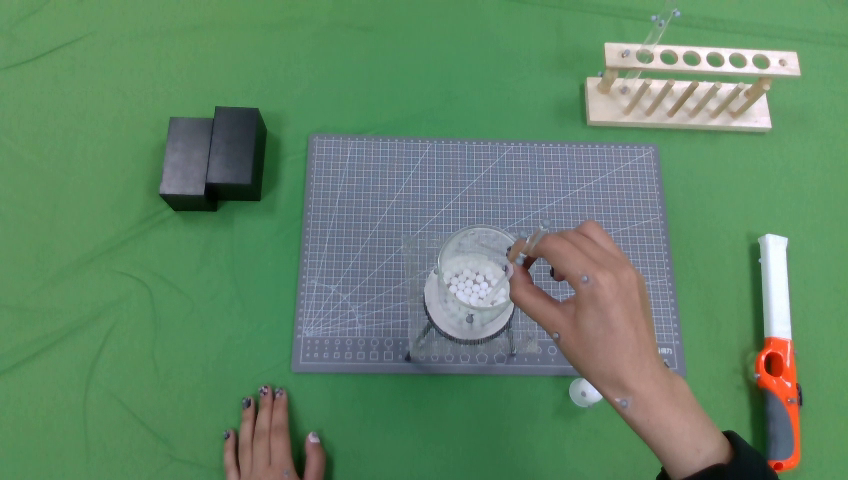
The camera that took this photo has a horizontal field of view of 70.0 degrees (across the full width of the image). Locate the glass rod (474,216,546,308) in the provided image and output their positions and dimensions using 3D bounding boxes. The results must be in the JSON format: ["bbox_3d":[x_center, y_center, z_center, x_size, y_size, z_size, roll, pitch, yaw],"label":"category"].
[{"bbox_3d":[0.061,0.023,0.473,0.008,0.200,0.008,3,68,-7],"label":"glass rod"}]

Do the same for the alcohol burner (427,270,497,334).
[{"bbox_3d":[0.043,0.065,0.654,0.078,0.119,0.077,2,70,-4],"label":"alcohol burner"}]

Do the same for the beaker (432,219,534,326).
[{"bbox_3d":[0.047,0.033,0.534,0.084,0.101,0.073,-3,71,-4],"label":"beaker"}]

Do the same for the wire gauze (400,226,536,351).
[{"bbox_3d":[0.041,0.045,0.580,0.125,0.011,0.120,-2,70,-2],"label":"wire gauze"}]

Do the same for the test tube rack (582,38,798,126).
[{"bbox_3d":[0.335,-0.199,0.773,0.242,0.085,0.066,1,71,-2],"label":"test tube rack"}]

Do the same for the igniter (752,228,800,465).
[{"bbox_3d":[0.407,0.118,0.705,0.057,0.025,0.275,11,72,-10],"label":"igniter"}]

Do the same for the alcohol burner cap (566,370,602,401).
[{"bbox_3d":[0.180,0.160,0.672,0.034,0.048,0.033,1,70,-2],"label":"alcohol burner cap"}]

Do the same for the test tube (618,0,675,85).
[{"bbox_3d":[0.264,-0.236,0.729,0.017,0.151,0.017,1,68,-1],"label":"test tube"}]

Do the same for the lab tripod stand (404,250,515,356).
[{"bbox_3d":[0.038,0.069,0.642,0.148,0.132,0.147,0,71,-1],"label":"lab tripod stand"}]
